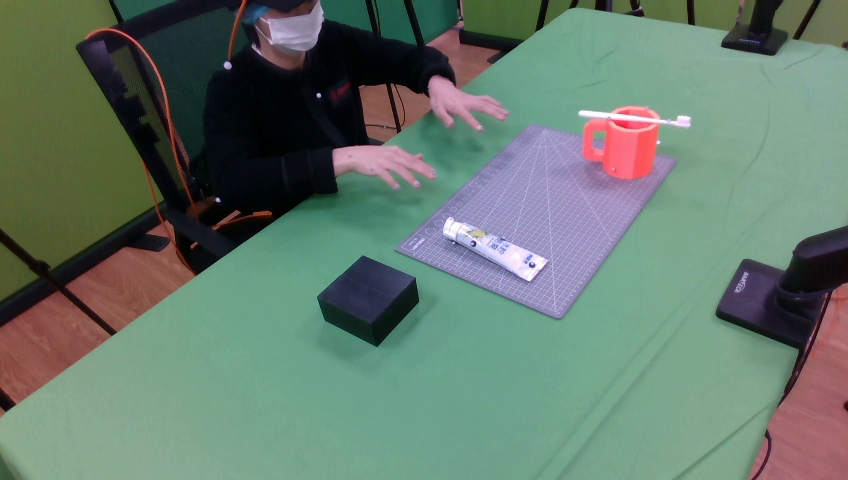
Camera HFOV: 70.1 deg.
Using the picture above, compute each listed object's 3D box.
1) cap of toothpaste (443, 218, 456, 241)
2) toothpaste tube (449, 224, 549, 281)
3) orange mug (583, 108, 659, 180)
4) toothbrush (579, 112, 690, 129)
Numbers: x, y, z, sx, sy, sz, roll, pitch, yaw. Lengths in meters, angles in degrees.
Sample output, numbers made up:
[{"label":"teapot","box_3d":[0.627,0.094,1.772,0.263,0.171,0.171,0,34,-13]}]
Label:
[{"label":"cap of toothpaste","box_3d":[0.044,-0.017,0.972,0.011,0.037,0.037,16,45,27]},{"label":"toothpaste tube","box_3d":[0.107,0.015,0.934,0.164,0.035,0.055,25,55,28]},{"label":"orange mug","box_3d":[0.343,-0.171,1.061,0.126,0.101,0.083,10,43,15]},{"label":"toothbrush","box_3d":[0.352,-0.205,1.019,0.181,0.017,0.014,10,47,21]}]
